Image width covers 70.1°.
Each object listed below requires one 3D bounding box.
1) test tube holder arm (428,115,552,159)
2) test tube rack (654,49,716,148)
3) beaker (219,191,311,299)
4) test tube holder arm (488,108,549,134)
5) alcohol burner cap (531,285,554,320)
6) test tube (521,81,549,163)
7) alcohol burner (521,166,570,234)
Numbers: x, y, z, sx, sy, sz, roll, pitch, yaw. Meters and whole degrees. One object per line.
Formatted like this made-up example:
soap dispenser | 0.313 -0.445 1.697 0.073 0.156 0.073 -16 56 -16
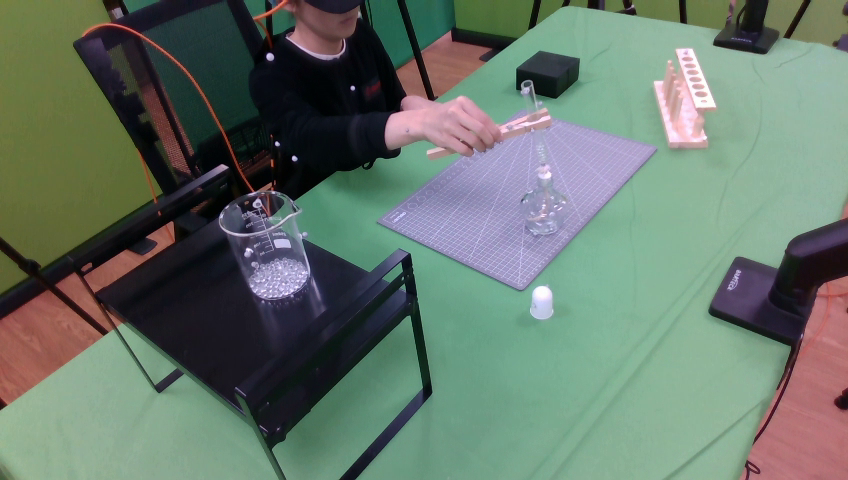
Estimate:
test tube holder arm | 0.091 -0.144 0.851 0.178 0.015 0.013 -15 50 10
test tube rack | 0.502 -0.281 1.176 0.066 0.085 0.241 2 41 11
beaker | -0.164 0.008 0.654 0.084 0.101 0.073 -10 41 -3
test tube holder arm | 0.133 -0.162 0.848 0.088 0.015 0.010 -21 49 4
alcohol burner cap | 0.164 0.084 0.838 0.034 0.048 0.033 -4 40 4
test tube | 0.158 -0.161 0.848 0.017 0.151 0.017 -11 51 14
alcohol burner | 0.192 -0.068 0.951 0.078 0.119 0.077 -3 43 4
